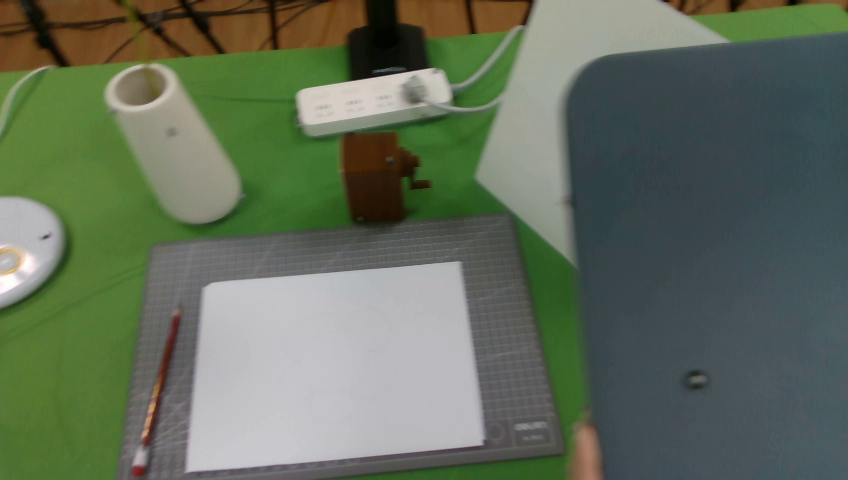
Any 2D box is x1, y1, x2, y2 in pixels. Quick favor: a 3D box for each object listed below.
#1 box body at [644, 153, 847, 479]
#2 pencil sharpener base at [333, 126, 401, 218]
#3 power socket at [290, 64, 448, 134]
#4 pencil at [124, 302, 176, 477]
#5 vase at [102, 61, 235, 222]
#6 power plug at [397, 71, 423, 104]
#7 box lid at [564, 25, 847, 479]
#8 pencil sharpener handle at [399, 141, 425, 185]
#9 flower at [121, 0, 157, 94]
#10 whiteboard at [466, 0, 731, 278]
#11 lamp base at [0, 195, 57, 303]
[{"bbox_3d":[0.384,0.109,0.579,0.254,0.162,0.360,-3,59,-1],"label":"box body"},{"bbox_3d":[-0.065,-0.080,0.732,0.077,0.108,0.061,-3,58,-2],"label":"pencil sharpener base"},{"bbox_3d":[-0.075,-0.198,0.847,0.227,0.033,0.071,-11,60,-6],"label":"power socket"},{"bbox_3d":[-0.289,0.152,0.648,0.012,0.012,0.192,0,57,1],"label":"pencil"},{"bbox_3d":[-0.290,-0.107,0.696,0.098,0.202,0.097,-1,58,2],"label":"vase"},{"bbox_3d":[-0.019,-0.196,0.818,0.035,0.053,0.072,-2,60,0],"label":"power plug"},{"bbox_3d":[0.227,0.050,0.335,0.263,0.015,0.369,-5,78,4],"label":"box lid"},{"bbox_3d":[-0.014,-0.090,0.723,0.030,0.068,0.035,-3,57,-2],"label":"pencil sharpener handle"},{"bbox_3d":[-0.287,-0.166,0.636,0.038,0.365,0.043,-16,41,-17],"label":"flower"},{"bbox_3d":[0.211,-0.145,0.688,0.144,0.307,0.215,-26,59,-36],"label":"whiteboard"},{"bbox_3d":[-0.538,-0.032,0.664,0.178,0.182,0.160,23,61,17],"label":"lamp base"}]
